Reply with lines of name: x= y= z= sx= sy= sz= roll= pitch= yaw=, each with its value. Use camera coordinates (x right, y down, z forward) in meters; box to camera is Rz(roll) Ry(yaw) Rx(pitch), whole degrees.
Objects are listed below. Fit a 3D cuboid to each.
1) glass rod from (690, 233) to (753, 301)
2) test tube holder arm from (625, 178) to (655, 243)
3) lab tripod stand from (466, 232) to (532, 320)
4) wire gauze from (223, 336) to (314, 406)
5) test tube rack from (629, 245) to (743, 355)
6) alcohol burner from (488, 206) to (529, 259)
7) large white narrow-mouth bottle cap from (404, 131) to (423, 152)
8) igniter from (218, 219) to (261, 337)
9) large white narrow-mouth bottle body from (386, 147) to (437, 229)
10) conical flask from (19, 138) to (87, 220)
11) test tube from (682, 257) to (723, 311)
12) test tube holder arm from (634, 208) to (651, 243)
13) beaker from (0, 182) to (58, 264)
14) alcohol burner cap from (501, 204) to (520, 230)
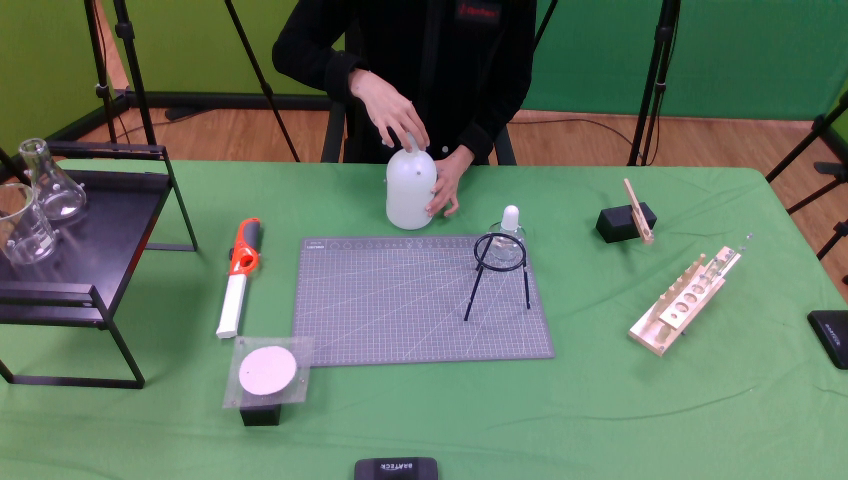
glass rod: x=0.507 y=0.053 z=1.041 sx=0.008 sy=0.200 sz=0.008 roll=5 pitch=51 yaw=-6
test tube holder arm: x=0.433 y=-0.062 z=1.220 sx=0.013 sy=0.015 sz=0.177 roll=1 pitch=47 yaw=-3
lab tripod stand: x=0.125 y=0.059 z=1.065 sx=0.148 sy=0.132 sz=0.147 roll=1 pitch=45 yaw=0
wire gauze: x=-0.236 y=0.197 z=0.931 sx=0.121 sy=0.011 sz=0.124 roll=1 pitch=45 yaw=-4
test tube rack: x=0.474 y=0.095 z=1.091 sx=0.242 sy=0.085 sz=0.066 roll=-34 pitch=56 yaw=-31
alcohol burner: x=0.163 y=-0.020 z=1.158 sx=0.078 sy=0.120 sz=0.077 roll=1 pitch=47 yaw=0
large white narrow-mouth bottle cap: x=-0.019 y=-0.183 z=1.121 sx=0.038 sy=0.024 sz=0.037 roll=3 pitch=46 yaw=-2
igniter: x=-0.336 y=0.060 z=1.111 sx=0.057 sy=0.025 sz=0.274 roll=-8 pitch=46 yaw=3
large white narrow-mouth bottle body: x=-0.024 y=-0.119 z=1.190 sx=0.102 sy=0.195 sz=0.101 roll=2 pitch=46 yaw=-2
conical flask: x=-0.576 y=-0.097 z=0.930 sx=0.075 sy=0.122 sz=0.075 roll=2 pitch=46 yaw=-2
test tube: x=0.475 y=0.080 z=1.037 sx=0.017 sy=0.151 sz=0.017 roll=1 pitch=51 yaw=-1
test tube holder arm: x=0.428 y=-0.030 z=1.189 sx=0.010 sy=0.015 sz=0.087 roll=1 pitch=47 yaw=-2
beaker: x=-0.582 y=-0.019 z=0.870 sx=0.074 sy=0.101 sz=0.083 roll=5 pitch=46 yaw=1
alcohol burner cap: x=0.164 y=-0.046 z=1.133 sx=0.034 sy=0.048 sz=0.033 roll=2 pitch=40 yaw=-2
